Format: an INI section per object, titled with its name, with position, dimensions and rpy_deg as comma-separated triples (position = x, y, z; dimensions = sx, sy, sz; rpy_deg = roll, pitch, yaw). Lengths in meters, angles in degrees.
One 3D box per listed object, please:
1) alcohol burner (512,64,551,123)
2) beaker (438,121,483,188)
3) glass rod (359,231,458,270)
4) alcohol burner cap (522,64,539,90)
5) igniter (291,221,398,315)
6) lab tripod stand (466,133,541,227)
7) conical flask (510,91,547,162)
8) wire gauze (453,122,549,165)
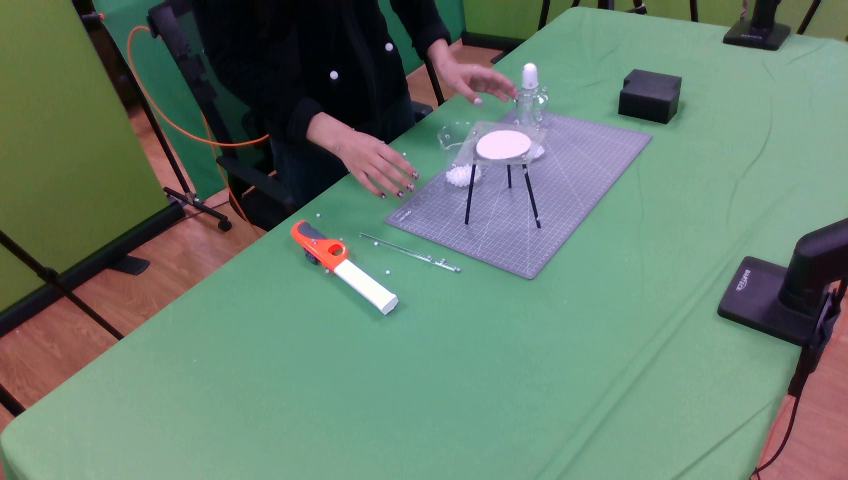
[alcohol burner]
position = 0.215, -0.298, 1.220
dimensions = 0.078, 0.120, 0.077
rpy_deg = -7, 40, 7
[beaker]
position = 0.066, -0.149, 1.084
dimensions = 0.073, 0.101, 0.084
rpy_deg = 20, 49, 31
[glass rod]
position = -0.029, 0.016, 0.982
dimensions = 0.198, 0.008, 0.008
rpy_deg = 20, 49, 30
[alcohol burner cap]
position = 0.210, -0.325, 1.195
dimensions = 0.034, 0.048, 0.033
rpy_deg = -6, 45, 7
[igniter]
position = -0.136, 0.037, 0.962
dimensions = 0.057, 0.025, 0.274
rpy_deg = -41, 48, -18
[lab tripod stand]
position = 0.130, -0.099, 0.985
dimensions = 0.148, 0.132, 0.147
rpy_deg = -6, 38, 6
[conical flask]
position = 0.189, -0.212, 1.116
dimensions = 0.075, 0.122, 0.075
rpy_deg = -6, 40, 5
[wire gauze]
position = 0.121, -0.150, 0.942
dimensions = 0.121, 0.011, 0.125
rpy_deg = 8, 42, 21
